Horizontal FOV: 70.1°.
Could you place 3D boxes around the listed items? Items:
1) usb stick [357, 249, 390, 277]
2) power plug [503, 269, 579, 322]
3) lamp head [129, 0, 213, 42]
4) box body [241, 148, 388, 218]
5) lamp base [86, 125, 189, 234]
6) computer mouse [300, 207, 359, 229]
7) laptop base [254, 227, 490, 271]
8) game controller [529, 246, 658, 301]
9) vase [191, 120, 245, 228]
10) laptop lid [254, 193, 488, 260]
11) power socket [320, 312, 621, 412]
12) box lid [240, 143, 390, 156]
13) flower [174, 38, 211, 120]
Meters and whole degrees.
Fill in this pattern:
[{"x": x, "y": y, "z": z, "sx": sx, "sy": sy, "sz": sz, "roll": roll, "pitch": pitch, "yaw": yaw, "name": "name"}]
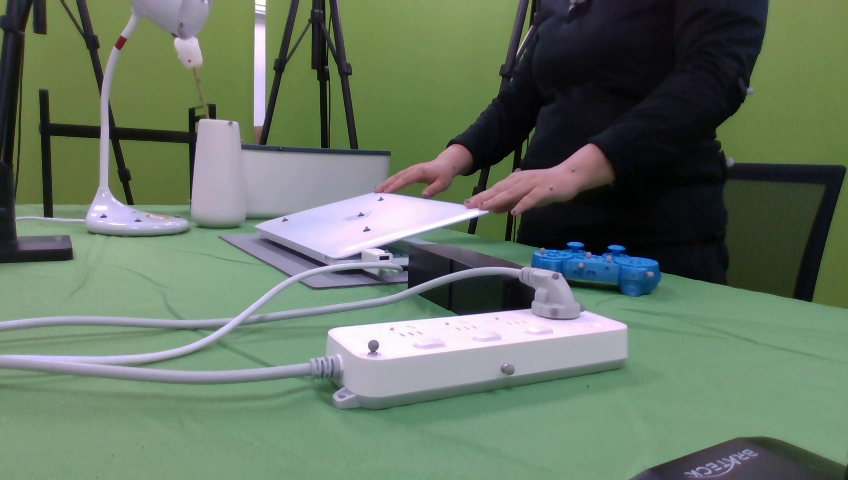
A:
[{"x": -0.063, "y": 0.025, "z": 0.707, "sx": 0.021, "sy": 0.027, "sz": 0.059, "roll": -5, "pitch": 8, "yaw": -31, "name": "usb stick"}, {"x": 0.091, "y": 0.051, "z": 0.469, "sx": 0.035, "sy": 0.052, "sz": 0.072, "roll": 0, "pitch": 6, "yaw": -18, "name": "power plug"}, {"x": -0.423, "y": -0.394, "z": 0.980, "sx": 0.123, "sy": 0.112, "sz": 0.112, "roll": 20, "pitch": 7, "yaw": -3, "name": "lamp head"}, {"x": -0.297, "y": -0.143, "z": 1.475, "sx": 0.366, "sy": 0.160, "sz": 0.253, "roll": -1, "pitch": 9, "yaw": -30, "name": "box body"}, {"x": -0.497, "y": -0.105, "z": 1.027, "sx": 0.179, "sy": 0.180, "sz": 0.160, "roll": 1, "pitch": 7, "yaw": 2, "name": "lamp base"}, {"x": -0.194, "y": -0.046, "z": 1.241, "sx": 0.117, "sy": 0.041, "sz": 0.063, "roll": 0, "pitch": 10, "yaw": 11, "name": "computer mouse"}, {"x": -0.096, "y": 0.011, "z": 0.912, "sx": 0.237, "sy": 0.023, "sz": 0.352, "roll": 2, "pitch": 6, "yaw": -32, "name": "laptop base"}, {"x": 0.202, "y": 0.037, "z": 0.733, "sx": 0.155, "sy": 0.051, "sz": 0.097, "roll": 5, "pitch": 10, "yaw": 19, "name": "game controller"}, {"x": -0.389, "y": -0.124, "z": 1.143, "sx": 0.098, "sy": 0.200, "sz": 0.098, "roll": 3, "pitch": 9, "yaw": 0, "name": "vase"}, {"x": -0.097, "y": -0.032, "z": 0.904, "sx": 0.243, "sy": 0.013, "sz": 0.355, "roll": -17, "pitch": 16, "yaw": -27, "name": "laptop lid"}, {"x": 0.038, "y": 0.075, "z": 0.409, "sx": 0.228, "sy": 0.032, "sz": 0.072, "roll": -2, "pitch": 8, "yaw": -29, "name": "power socket"}, {"x": -0.295, "y": -0.217, "z": 1.464, "sx": 0.373, "sy": 0.015, "sz": 0.262, "roll": -1, "pitch": 8, "yaw": -30, "name": "box lid"}, {"x": -0.401, "y": -0.207, "z": 1.141, "sx": 0.038, "sy": 0.361, "sz": 0.044, "roll": -14, "pitch": 3, "yaw": 44, "name": "flower"}]
